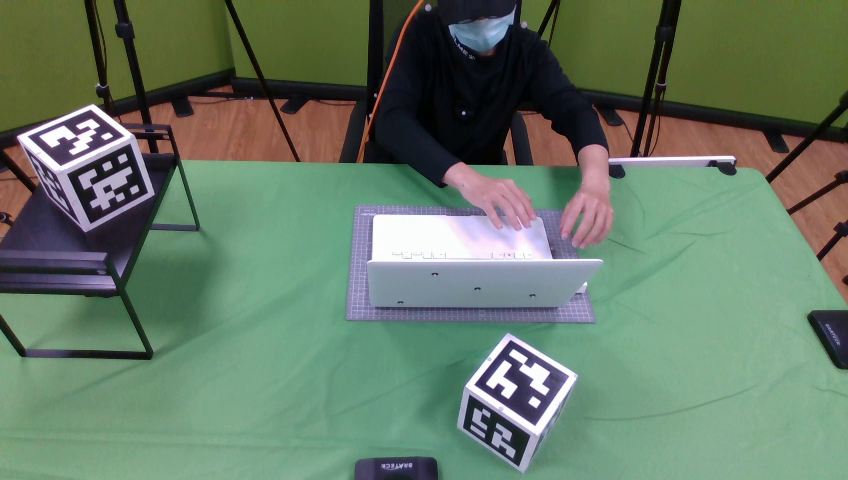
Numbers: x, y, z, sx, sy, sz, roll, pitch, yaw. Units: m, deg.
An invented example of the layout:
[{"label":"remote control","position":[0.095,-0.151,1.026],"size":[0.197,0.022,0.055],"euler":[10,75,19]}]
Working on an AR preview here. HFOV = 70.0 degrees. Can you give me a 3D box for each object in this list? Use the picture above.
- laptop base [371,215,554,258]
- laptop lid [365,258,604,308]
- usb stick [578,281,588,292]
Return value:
[{"label":"laptop base","position":[0.075,0.036,1.167],"size":[0.354,0.023,0.234],"euler":[0,43,-4]},{"label":"laptop lid","position":[0.085,0.074,0.978],"size":[0.357,0.242,0.013],"euler":[1,67,-5]},{"label":"usb stick","position":[0.271,0.082,1.119],"size":[0.059,0.027,0.021],"euler":[-2,48,-1]}]
